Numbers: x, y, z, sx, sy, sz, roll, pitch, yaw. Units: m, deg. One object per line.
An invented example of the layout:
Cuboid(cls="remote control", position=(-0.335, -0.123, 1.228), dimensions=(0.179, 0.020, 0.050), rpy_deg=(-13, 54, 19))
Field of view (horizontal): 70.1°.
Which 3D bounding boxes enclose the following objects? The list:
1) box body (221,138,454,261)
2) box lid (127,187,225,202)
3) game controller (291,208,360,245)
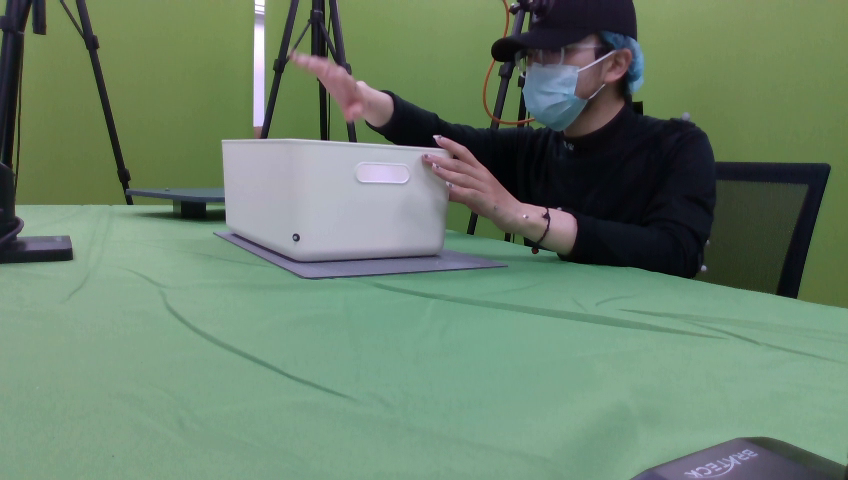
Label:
Cuboid(cls="box body", position=(-0.152, -0.074, 0.963), dimensions=(0.255, 0.160, 0.362), rpy_deg=(-3, 9, -33))
Cuboid(cls="box lid", position=(-0.449, -0.106, 1.393), dimensions=(0.262, 0.015, 0.373), rpy_deg=(6, 8, 28))
Cuboid(cls="game controller", position=(-0.161, -0.023, 0.967), dimensions=(0.097, 0.051, 0.154), rpy_deg=(-5, 9, -15))
